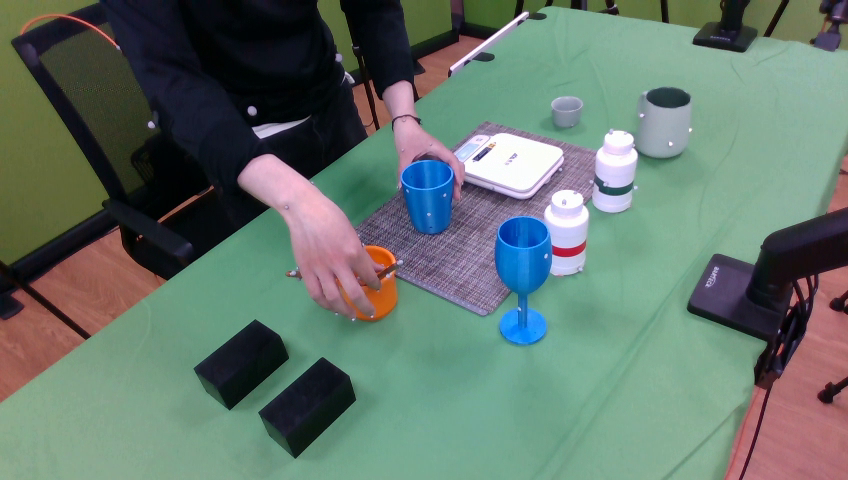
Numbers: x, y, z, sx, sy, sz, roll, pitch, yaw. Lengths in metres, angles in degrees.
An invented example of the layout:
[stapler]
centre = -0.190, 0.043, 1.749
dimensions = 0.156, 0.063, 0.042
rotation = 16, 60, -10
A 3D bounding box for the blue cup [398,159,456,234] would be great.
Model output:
[blue cup]
centre = 0.007, -0.066, 0.976
dimensions = 0.092, 0.100, 0.092
rotation = -4, 41, 4

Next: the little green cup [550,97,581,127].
[little green cup]
centre = 0.284, -0.255, 1.213
dimensions = 0.061, 0.039, 0.061
rotation = -5, 41, 5

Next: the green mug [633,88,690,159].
[green mug]
centre = 0.423, -0.217, 1.099
dimensions = 0.093, 0.105, 0.124
rotation = -16, 41, -9

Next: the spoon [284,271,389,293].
[spoon]
centre = -0.116, 0.054, 0.824
dimensions = 0.041, 0.195, 0.021
rotation = 7, 83, 37

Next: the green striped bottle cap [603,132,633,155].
[green striped bottle cap]
centre = 0.302, -0.149, 0.939
dimensions = 0.044, 0.020, 0.044
rotation = -3, 40, 3

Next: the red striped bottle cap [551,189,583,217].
[red striped bottle cap]
centre = 0.199, -0.052, 0.843
dimensions = 0.044, 0.018, 0.044
rotation = -2, 42, 2

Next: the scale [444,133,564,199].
[scale]
centre = 0.137, -0.142, 1.101
dimensions = 0.199, 0.032, 0.149
rotation = 22, 48, 30

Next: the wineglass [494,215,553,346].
[wineglass]
centre = 0.127, 0.055, 0.770
dimensions = 0.074, 0.173, 0.073
rotation = -4, 40, 4

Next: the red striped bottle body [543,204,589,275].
[red striped bottle body]
centre = 0.206, -0.011, 0.877
dimensions = 0.063, 0.120, 0.062
rotation = -4, 41, 4

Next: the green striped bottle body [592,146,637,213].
[green striped bottle body]
centre = 0.307, -0.108, 0.976
dimensions = 0.063, 0.120, 0.063
rotation = -4, 41, 4

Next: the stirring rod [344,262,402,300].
[stirring rod]
centre = -0.072, 0.057, 0.813
dimensions = 0.014, 0.175, 0.006
rotation = -17, 80, -33
